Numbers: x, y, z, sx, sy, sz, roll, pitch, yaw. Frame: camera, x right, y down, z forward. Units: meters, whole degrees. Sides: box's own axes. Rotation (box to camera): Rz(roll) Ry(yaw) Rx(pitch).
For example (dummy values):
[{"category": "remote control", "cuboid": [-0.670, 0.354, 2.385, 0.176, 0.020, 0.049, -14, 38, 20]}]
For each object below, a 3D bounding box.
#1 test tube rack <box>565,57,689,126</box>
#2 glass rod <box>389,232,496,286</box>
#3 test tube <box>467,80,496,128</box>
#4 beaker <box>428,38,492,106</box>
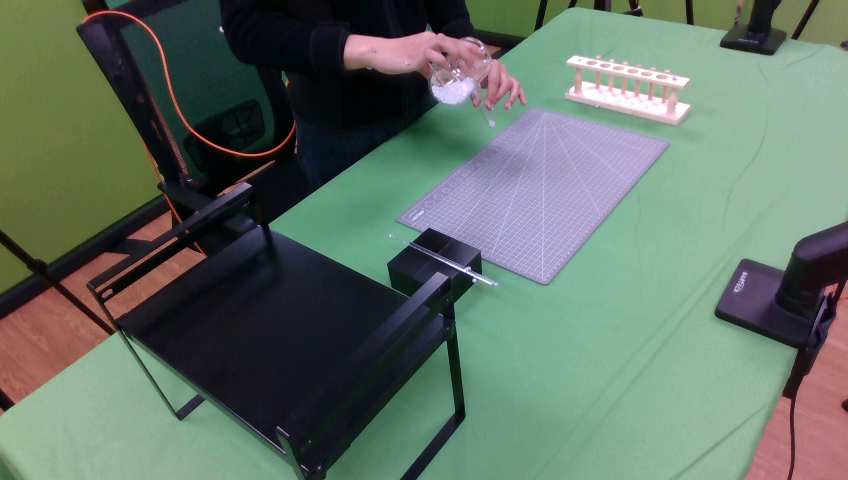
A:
[{"category": "test tube rack", "cuboid": [0.412, -0.311, 1.230, 0.240, 0.085, 0.067, 24, 49, 32]}, {"category": "glass rod", "cuboid": [0.022, 0.025, 0.878, 0.198, 0.008, 0.008, 25, 50, 33]}, {"category": "test tube", "cuboid": [0.106, -0.241, 1.086, 0.017, 0.151, 0.017, -7, 70, 19]}, {"category": "beaker", "cuboid": [0.056, -0.263, 0.965, 0.073, 0.084, 0.100, 16, 46, 22]}]
